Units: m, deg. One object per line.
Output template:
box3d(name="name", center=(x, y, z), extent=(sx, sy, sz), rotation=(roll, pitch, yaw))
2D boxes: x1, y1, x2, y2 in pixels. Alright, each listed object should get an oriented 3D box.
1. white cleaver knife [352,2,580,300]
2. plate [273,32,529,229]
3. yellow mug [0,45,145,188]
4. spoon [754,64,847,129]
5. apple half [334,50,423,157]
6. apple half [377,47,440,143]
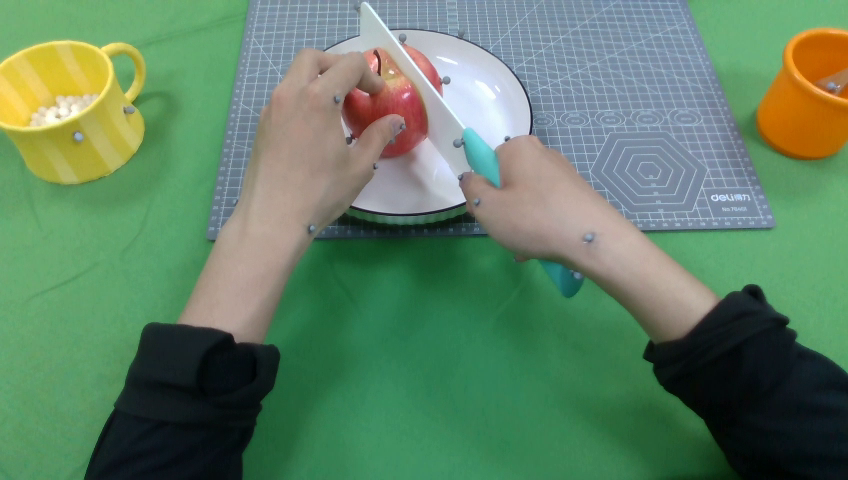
box3d(name="white cleaver knife", center=(0.021, -0.072, 0.447), extent=(0.021, 0.066, 0.284), rotation=(-28, 67, -14))
box3d(name="plate", center=(-0.018, -0.093, 0.508), extent=(0.209, 0.038, 0.207), rotation=(1, 58, -1))
box3d(name="yellow mug", center=(-0.285, -0.112, 0.502), extent=(0.099, 0.064, 0.130), rotation=(29, 61, 16))
box3d(name="spoon", center=(0.366, -0.149, 0.488), extent=(0.022, 0.194, 0.041), rotation=(25, 44, -38))
box3d(name="apple half", center=(-0.042, -0.101, 0.482), extent=(0.053, 0.075, 0.080), rotation=(-31, 67, -13))
box3d(name="apple half", center=(-0.008, -0.121, 0.494), extent=(0.033, 0.082, 0.080), rotation=(-31, 63, -18))
